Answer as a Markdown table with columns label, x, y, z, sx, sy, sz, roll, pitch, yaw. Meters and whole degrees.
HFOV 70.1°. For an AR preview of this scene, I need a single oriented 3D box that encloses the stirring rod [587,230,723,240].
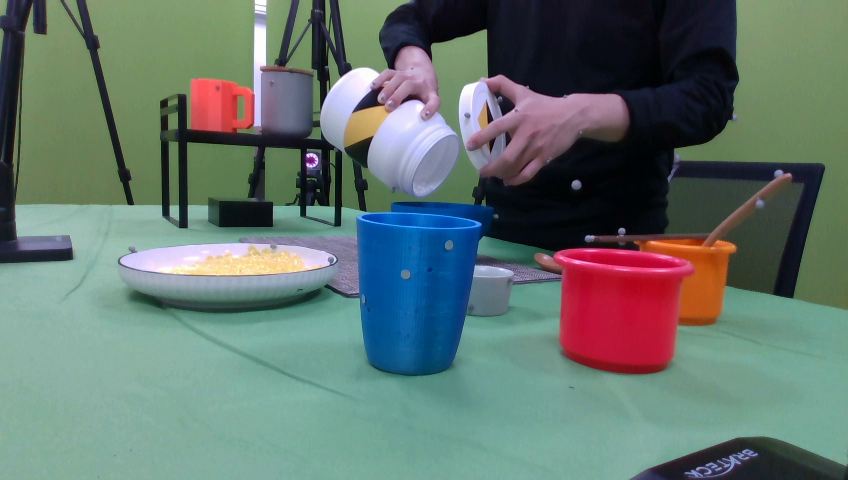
| label | x | y | z | sx | sy | sz | roll | pitch | yaw |
| --- | --- | --- | --- | --- | --- | --- | --- | --- | --- |
| stirring rod | 0.227 | -0.006 | 0.585 | 0.177 | 0.006 | 0.014 | -2 | 7 | -28 |

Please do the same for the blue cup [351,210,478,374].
| label | x | y | z | sx | sy | sz | roll | pitch | yaw |
| --- | --- | --- | --- | --- | --- | --- | --- | --- | --- |
| blue cup | -0.009 | 0.034 | 0.414 | 0.093 | 0.100 | 0.092 | 4 | 8 | 0 |

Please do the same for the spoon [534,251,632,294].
| label | x | y | z | sx | sy | sz | roll | pitch | yaw |
| --- | --- | --- | --- | --- | --- | --- | --- | --- | --- |
| spoon | 0.193 | 0.038 | 0.753 | 0.042 | 0.021 | 0.193 | 14 | 2 | -21 |

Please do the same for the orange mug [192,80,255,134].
| label | x | y | z | sx | sy | sz | roll | pitch | yaw |
| --- | --- | --- | --- | --- | --- | --- | --- | --- | --- |
| orange mug | -0.389 | -0.257 | 1.172 | 0.126 | 0.100 | 0.083 | -1 | 6 | 9 |

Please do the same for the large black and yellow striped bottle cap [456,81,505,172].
| label | x | y | z | sx | sy | sz | roll | pitch | yaw |
| --- | --- | --- | --- | --- | --- | --- | --- | --- | --- |
| large black and yellow striped bottle cap | 0.074 | -0.145 | 0.776 | 0.018 | 0.115 | 0.115 | -9 | 1 | 29 |

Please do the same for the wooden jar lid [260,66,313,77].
| label | x | y | z | sx | sy | sz | roll | pitch | yaw |
| --- | --- | --- | --- | --- | --- | --- | --- | --- | --- |
| wooden jar lid | -0.283 | -0.339 | 1.245 | 0.108 | 0.020 | 0.108 | 5 | 9 | -1 |

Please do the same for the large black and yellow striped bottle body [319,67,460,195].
| label | x | y | z | sx | sy | sz | roll | pitch | yaw |
| --- | --- | --- | --- | --- | --- | --- | --- | --- | --- |
| large black and yellow striped bottle body | -0.050 | -0.159 | 0.899 | 0.183 | 0.130 | 0.131 | 37 | 22 | 22 |

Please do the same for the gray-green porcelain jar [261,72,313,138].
| label | x | y | z | sx | sy | sz | roll | pitch | yaw |
| --- | --- | --- | --- | --- | --- | --- | --- | --- | --- |
| gray-green porcelain jar | -0.284 | -0.276 | 1.253 | 0.106 | 0.126 | 0.106 | 2 | 8 | 0 |

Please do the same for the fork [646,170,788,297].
| label | x | y | z | sx | sy | sz | roll | pitch | yaw |
| --- | --- | --- | --- | --- | --- | --- | --- | --- | --- |
| fork | 0.256 | 0.004 | 0.543 | 0.028 | 0.018 | 0.207 | 3 | -36 | -10 |

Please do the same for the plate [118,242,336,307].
| label | x | y | z | sx | sy | sz | roll | pitch | yaw |
| --- | --- | --- | --- | --- | --- | --- | --- | --- | --- |
| plate | -0.194 | 0.033 | 0.615 | 0.209 | 0.038 | 0.209 | 2 | 7 | 0 |

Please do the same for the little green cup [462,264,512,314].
| label | x | y | z | sx | sy | sz | roll | pitch | yaw |
| --- | --- | --- | --- | --- | --- | --- | --- | --- | --- |
| little green cup | 0.053 | 0.047 | 0.580 | 0.061 | 0.038 | 0.061 | 3 | 8 | 0 |

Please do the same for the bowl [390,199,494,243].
| label | x | y | z | sx | sy | sz | roll | pitch | yaw |
| --- | --- | --- | --- | --- | --- | --- | --- | --- | --- |
| bowl | 0.024 | -0.015 | 0.872 | 0.151 | 0.077 | 0.151 | 3 | 7 | 0 |
